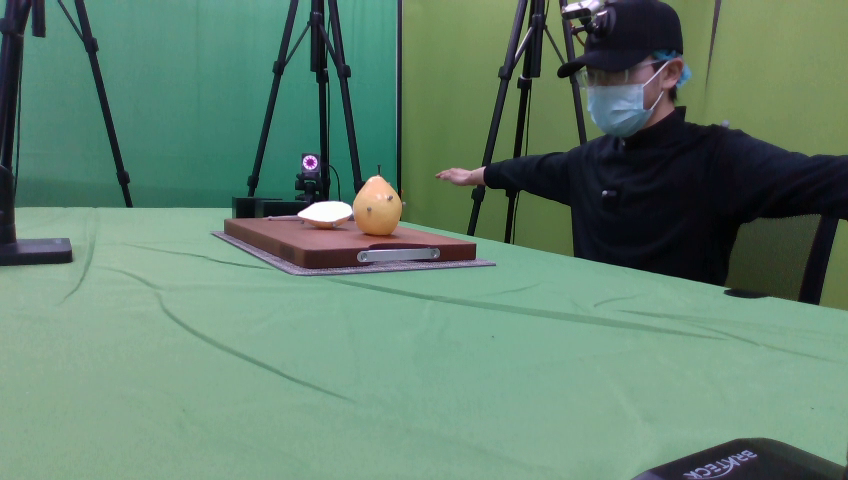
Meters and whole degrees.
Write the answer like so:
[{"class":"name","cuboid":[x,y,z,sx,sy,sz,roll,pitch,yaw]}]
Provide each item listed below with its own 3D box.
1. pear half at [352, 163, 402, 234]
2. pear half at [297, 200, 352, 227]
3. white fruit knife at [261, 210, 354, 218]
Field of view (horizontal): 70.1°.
[{"class":"pear half","cuboid":[-0.065,-0.063,0.921,0.077,0.110,0.055,-8,12,-39]},{"class":"pear half","cuboid":[-0.163,-0.038,0.996,0.088,0.031,0.070,-13,26,-15]},{"class":"white fruit knife","cuboid":[-0.199,-0.047,1.122,0.208,0.016,0.027,-3,-6,-30]}]
